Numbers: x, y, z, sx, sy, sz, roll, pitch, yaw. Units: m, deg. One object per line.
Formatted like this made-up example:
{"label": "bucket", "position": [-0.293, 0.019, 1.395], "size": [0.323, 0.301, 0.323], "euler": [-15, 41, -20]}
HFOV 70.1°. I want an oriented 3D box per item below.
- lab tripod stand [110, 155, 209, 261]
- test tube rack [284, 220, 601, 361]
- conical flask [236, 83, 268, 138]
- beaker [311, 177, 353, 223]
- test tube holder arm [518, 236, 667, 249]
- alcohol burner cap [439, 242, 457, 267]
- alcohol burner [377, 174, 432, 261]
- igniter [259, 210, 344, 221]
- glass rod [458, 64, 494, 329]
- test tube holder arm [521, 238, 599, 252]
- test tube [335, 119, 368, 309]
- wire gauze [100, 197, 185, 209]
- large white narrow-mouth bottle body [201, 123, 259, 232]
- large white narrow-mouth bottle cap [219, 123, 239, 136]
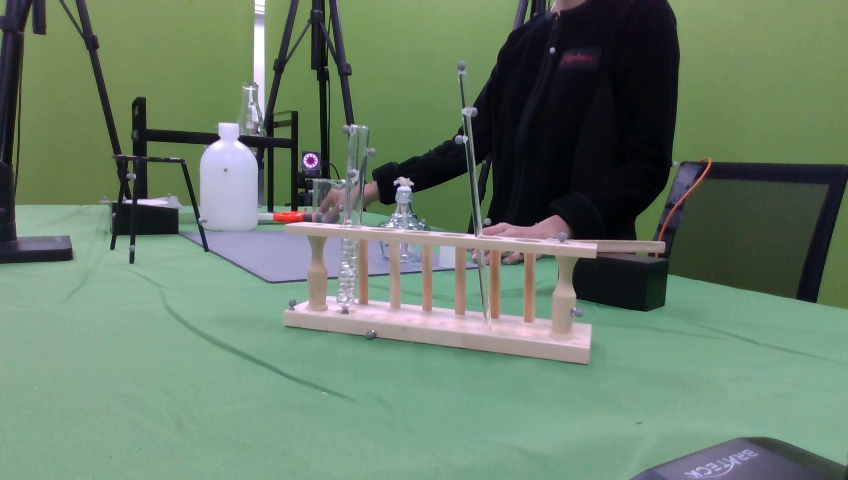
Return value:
{"label": "lab tripod stand", "position": [-0.361, -0.046, 0.806], "size": [0.148, 0.131, 0.148], "euler": [2, 5, 0]}
{"label": "test tube rack", "position": [0.013, 0.032, 0.482], "size": [0.242, 0.085, 0.067], "euler": [4, 7, 16]}
{"label": "conical flask", "position": [-0.400, -0.298, 1.396], "size": [0.075, 0.122, 0.075], "euler": [2, 8, 0]}
{"label": "beaker", "position": [-0.167, -0.064, 1.106], "size": [0.074, 0.100, 0.083], "euler": [-2, 9, -26]}
{"label": "test tube holder arm", "position": [0.186, 0.003, 0.655], "size": [0.179, 0.015, 0.013], "euler": [0, 14, -18]}
{"label": "alcohol burner cap", "position": [0.038, 0.011, 0.807], "size": [0.034, 0.048, 0.034], "euler": [2, 8, 0]}
{"label": "alcohol burner", "position": [-0.027, -0.031, 0.838], "size": [0.078, 0.119, 0.078], "euler": [0, 6, 0]}
{"label": "igniter", "position": [-0.302, -0.049, 1.248], "size": [0.278, 0.025, 0.057], "euler": [-2, 6, -27]}
{"label": "glass rod", "position": [0.039, -0.029, 0.449], "size": [0.008, 0.199, 0.008], "euler": [-7, 9, 1]}
{"label": "test tube holder arm", "position": [0.144, 0.004, 0.635], "size": [0.088, 0.015, 0.010], "euler": [0, 14, -19]}
{"label": "test tube", "position": [-0.057, -0.019, 0.477], "size": [0.017, 0.150, 0.017], "euler": [5, 9, -1]}
{"label": "wire gauze", "position": [-0.469, -0.062, 1.008], "size": [0.126, 0.011, 0.121], "euler": [-2, 8, -25]}
{"label": "large white narrow-mouth bottle body", "position": [-0.358, -0.116, 1.116], "size": [0.102, 0.194, 0.102], "euler": [2, 8, 0]}
{"label": "large white narrow-mouth bottle cap", "position": [-0.356, -0.201, 1.104], "size": [0.038, 0.024, 0.037], "euler": [2, 8, 0]}
